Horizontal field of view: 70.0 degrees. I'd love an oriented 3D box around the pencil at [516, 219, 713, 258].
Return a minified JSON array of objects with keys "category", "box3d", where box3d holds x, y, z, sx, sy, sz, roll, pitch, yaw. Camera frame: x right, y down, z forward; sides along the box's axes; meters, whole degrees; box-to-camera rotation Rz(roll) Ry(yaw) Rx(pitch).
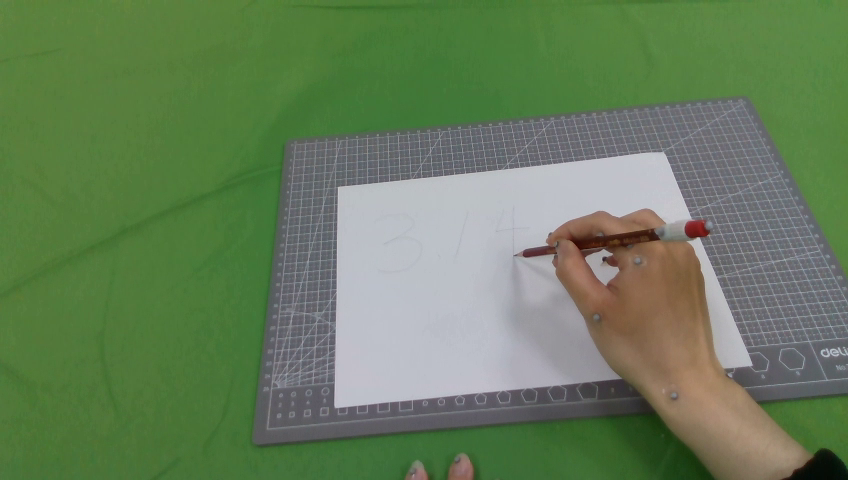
[{"category":"pencil","box3d":[0.111,0.003,0.404,0.012,0.193,0.012,2,84,-22]}]
